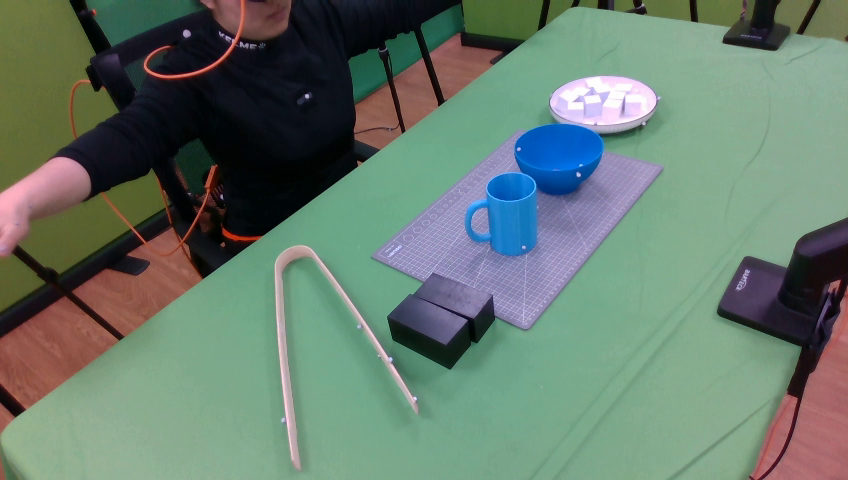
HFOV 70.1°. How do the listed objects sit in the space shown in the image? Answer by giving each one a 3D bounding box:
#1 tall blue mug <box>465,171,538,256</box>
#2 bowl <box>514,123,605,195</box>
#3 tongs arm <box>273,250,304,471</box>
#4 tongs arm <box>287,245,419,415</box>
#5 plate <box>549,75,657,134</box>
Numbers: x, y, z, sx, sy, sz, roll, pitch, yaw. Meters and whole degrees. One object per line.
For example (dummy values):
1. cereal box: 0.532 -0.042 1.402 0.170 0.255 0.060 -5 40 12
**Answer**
1. tall blue mug: 0.125 -0.033 0.925 0.107 0.108 0.077 -32 46 -25
2. bowl: 0.232 -0.131 1.045 0.151 0.077 0.150 -5 40 5
3. tongs arm: -0.188 0.145 0.844 0.028 0.028 0.384 -22 41 0
4. tongs arm: -0.114 0.113 0.859 0.051 0.027 0.381 -28 43 -12
5. plate: 0.357 -0.269 1.220 0.209 0.038 0.208 -5 41 5
